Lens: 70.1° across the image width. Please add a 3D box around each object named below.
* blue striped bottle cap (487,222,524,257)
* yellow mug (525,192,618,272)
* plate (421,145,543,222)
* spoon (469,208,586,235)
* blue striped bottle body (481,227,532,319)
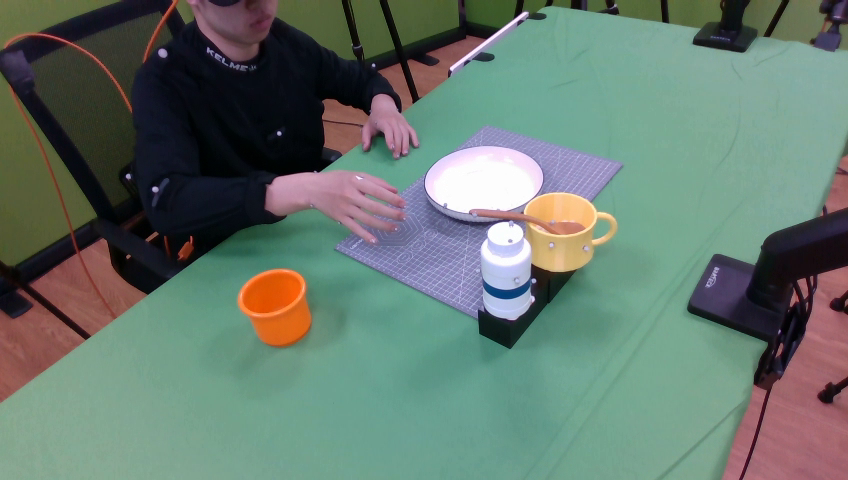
[{"bbox_3d":[0.097,-0.001,0.722,0.044,0.021,0.044,-2,39,2],"label":"blue striped bottle cap"},{"bbox_3d":[0.206,-0.014,0.845,0.131,0.064,0.099,-4,41,2],"label":"yellow mug"},{"bbox_3d":[0.101,-0.094,1.048,0.207,0.039,0.206,-4,41,4],"label":"plate"},{"bbox_3d":[0.143,-0.026,0.817,0.195,0.021,0.041,12,35,-29],"label":"spoon"},{"bbox_3d":[0.104,0.037,0.756,0.063,0.121,0.063,-4,40,4],"label":"blue striped bottle body"}]
